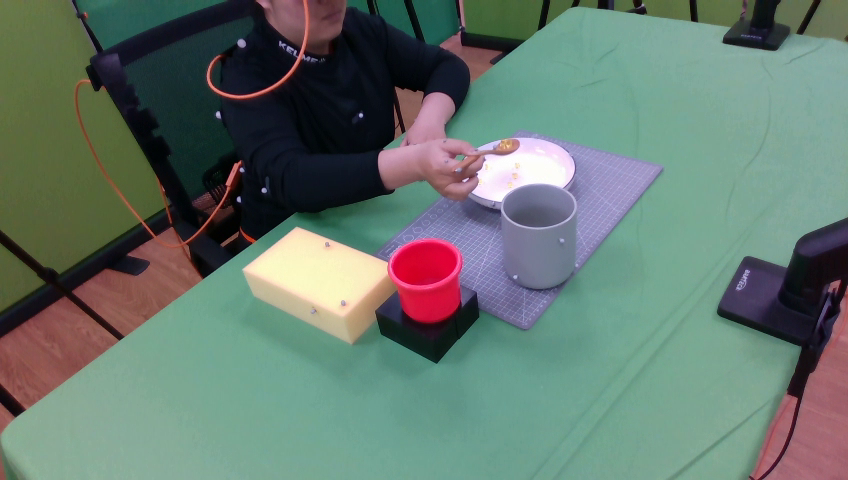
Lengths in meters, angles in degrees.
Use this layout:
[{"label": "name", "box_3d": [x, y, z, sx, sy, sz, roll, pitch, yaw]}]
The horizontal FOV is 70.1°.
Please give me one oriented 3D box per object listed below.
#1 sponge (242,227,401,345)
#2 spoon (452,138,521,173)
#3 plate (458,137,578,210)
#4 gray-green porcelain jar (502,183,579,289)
[{"label": "sponge", "box_3d": [-0.154, 0.063, 0.907, 0.205, 0.061, 0.118, 19, 48, 29]}, {"label": "spoon", "box_3d": [0.090, -0.127, 0.890, 0.041, 0.021, 0.195, 10, 21, 32]}, {"label": "plate", "box_3d": [0.166, -0.113, 1.069, 0.207, 0.039, 0.206, -5, 40, 5]}, {"label": "gray-green porcelain jar", "box_3d": [0.167, -0.001, 0.866, 0.106, 0.127, 0.105, -5, 40, 5]}]
